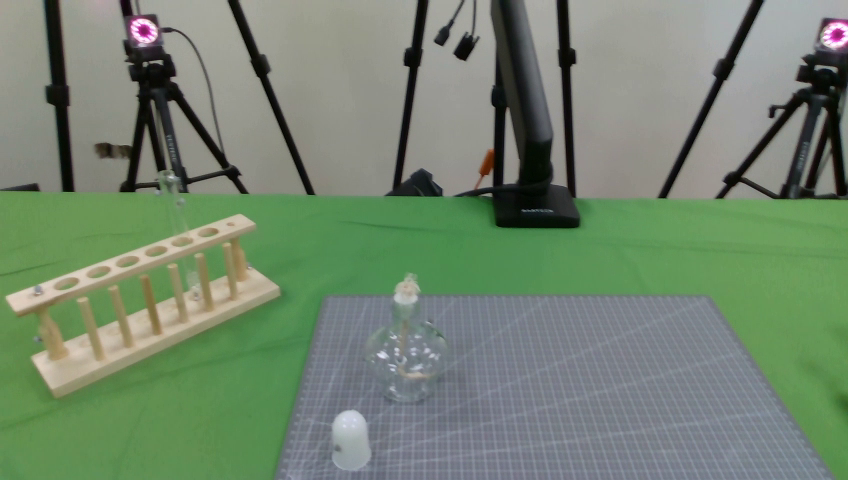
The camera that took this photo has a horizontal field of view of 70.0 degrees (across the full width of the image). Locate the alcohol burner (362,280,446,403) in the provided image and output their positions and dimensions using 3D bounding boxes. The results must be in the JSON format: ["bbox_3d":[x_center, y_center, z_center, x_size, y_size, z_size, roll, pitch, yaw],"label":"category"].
[{"bbox_3d":[-0.018,0.088,0.551,0.078,0.120,0.077,1,28,0],"label":"alcohol burner"}]

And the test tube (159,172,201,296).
[{"bbox_3d":[-0.257,-0.002,0.644,0.017,0.151,0.017,0,32,0],"label":"test tube"}]

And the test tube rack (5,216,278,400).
[{"bbox_3d":[-0.280,0.060,0.635,0.243,0.086,0.066,-25,38,-37],"label":"test tube rack"}]

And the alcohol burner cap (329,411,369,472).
[{"bbox_3d":[-0.063,0.161,0.495,0.034,0.048,0.033,0,30,0],"label":"alcohol burner cap"}]
